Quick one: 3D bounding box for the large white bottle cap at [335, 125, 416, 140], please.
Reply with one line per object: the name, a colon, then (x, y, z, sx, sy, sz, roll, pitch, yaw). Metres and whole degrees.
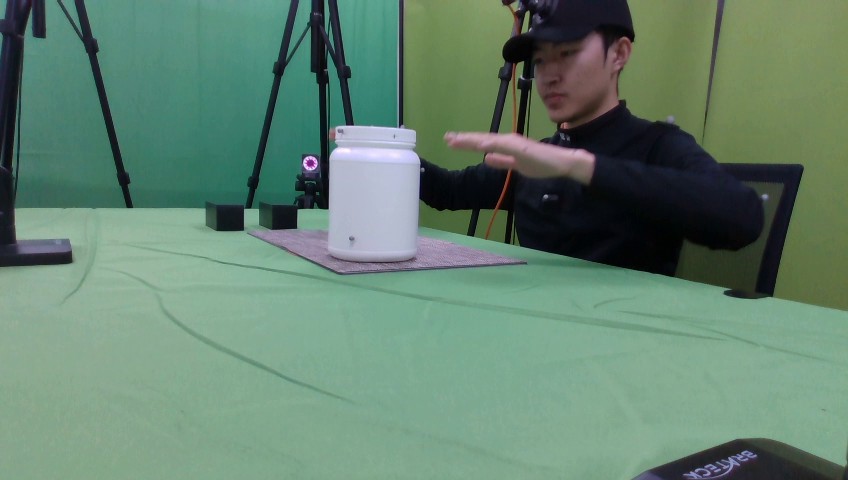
large white bottle cap: (-0.069, -0.151, 0.859, 0.115, 0.018, 0.115, 2, 8, 0)

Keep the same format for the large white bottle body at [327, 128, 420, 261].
large white bottle body: (-0.072, -0.069, 0.870, 0.131, 0.184, 0.130, 2, 8, 0)
